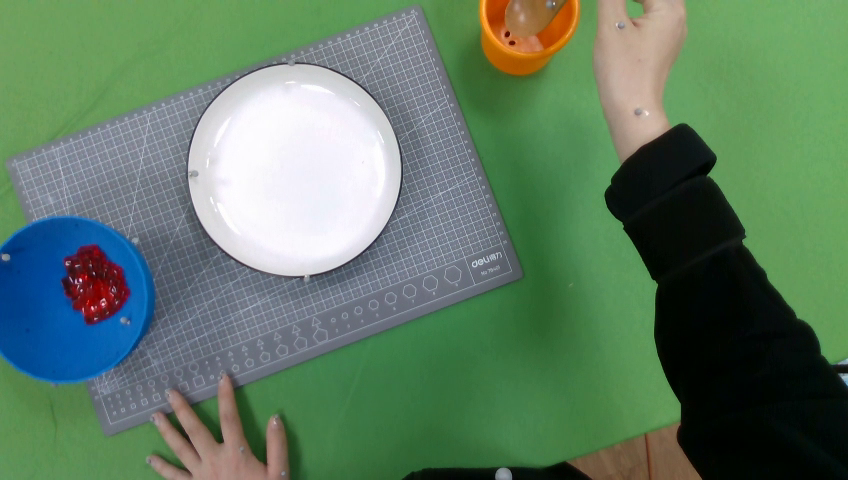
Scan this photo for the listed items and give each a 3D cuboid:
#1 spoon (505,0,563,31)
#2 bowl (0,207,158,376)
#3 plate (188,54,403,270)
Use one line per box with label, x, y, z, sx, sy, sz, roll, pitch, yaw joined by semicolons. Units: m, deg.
spoon;0.129;-0.206;0.472;0.022;0.192;0.041;-11;96;-28
bowl;-0.317;0.047;0.574;0.151;0.077;0.151;0;89;0
plate;-0.123;-0.075;0.597;0.209;0.038;0.209;0;89;0
